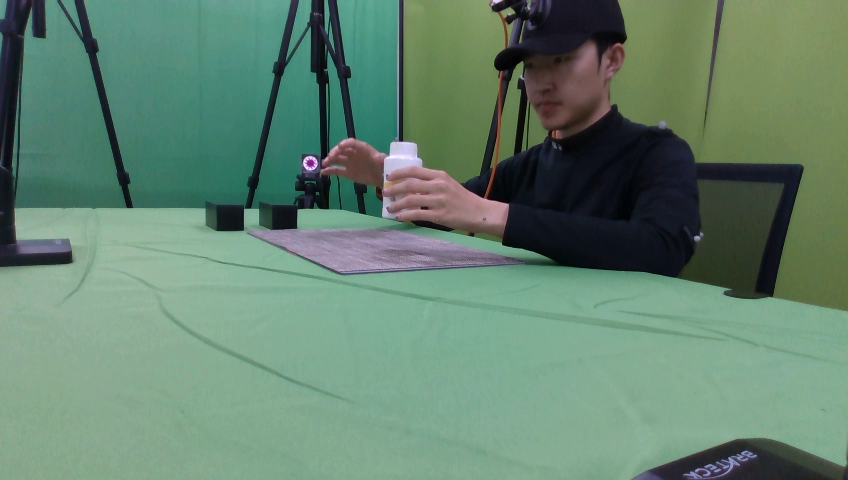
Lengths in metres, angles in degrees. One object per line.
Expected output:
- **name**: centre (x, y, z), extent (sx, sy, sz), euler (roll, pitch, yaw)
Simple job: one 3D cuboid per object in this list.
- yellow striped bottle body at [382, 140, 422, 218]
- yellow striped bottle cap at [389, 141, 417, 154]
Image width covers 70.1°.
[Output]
- **yellow striped bottle body**: centre (-0.035, -0.096, 0.966), extent (0.063, 0.120, 0.063), euler (2, 0, 0)
- **yellow striped bottle cap**: centre (-0.033, -0.147, 0.965), extent (0.044, 0.018, 0.044), euler (2, 4, 0)
